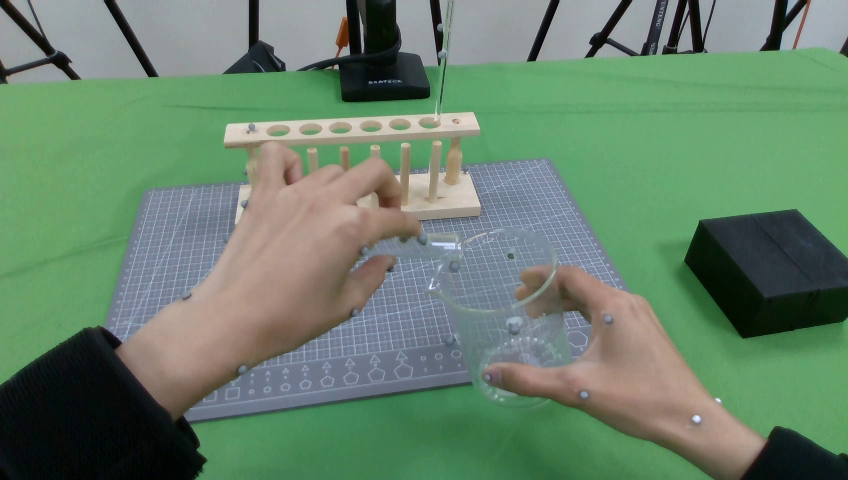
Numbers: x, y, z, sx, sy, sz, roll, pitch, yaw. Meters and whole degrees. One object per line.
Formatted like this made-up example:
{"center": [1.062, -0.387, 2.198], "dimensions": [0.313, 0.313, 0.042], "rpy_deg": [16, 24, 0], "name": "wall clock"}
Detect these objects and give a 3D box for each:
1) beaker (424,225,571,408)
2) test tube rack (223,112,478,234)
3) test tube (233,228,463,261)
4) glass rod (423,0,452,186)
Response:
{"center": [0.052, 0.053, 0.387], "dimensions": [0.084, 0.101, 0.073], "rpy_deg": [-13, 37, 8], "name": "beaker"}
{"center": [-0.068, -0.068, 0.603], "dimensions": [0.243, 0.086, 0.066], "rpy_deg": [-5, 42, -8], "name": "test tube rack"}
{"center": [-0.050, 0.002, 0.371], "dimensions": [0.150, 0.017, 0.017], "rpy_deg": [2, 40, 16], "name": "test tube"}
{"center": [0.011, -0.132, 0.578], "dimensions": [0.008, 0.201, 0.008], "rpy_deg": [4, 42, -4], "name": "glass rod"}
